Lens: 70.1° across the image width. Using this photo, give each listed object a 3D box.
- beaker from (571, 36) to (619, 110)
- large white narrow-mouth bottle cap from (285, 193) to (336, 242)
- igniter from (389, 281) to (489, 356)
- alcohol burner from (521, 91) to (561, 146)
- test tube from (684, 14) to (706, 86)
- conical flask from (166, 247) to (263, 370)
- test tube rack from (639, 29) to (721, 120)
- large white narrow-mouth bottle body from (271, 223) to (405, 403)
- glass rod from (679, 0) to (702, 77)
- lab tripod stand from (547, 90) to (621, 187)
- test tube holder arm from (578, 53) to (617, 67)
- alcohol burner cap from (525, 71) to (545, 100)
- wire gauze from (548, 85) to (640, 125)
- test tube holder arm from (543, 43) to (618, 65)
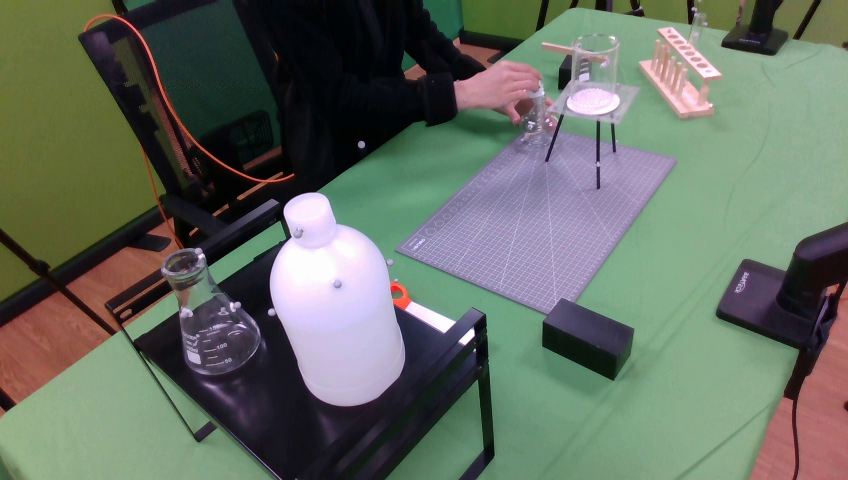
[{"bbox_3d":[0.281,-0.273,0.992,0.084,0.101,0.073,-24,42,-16],"label":"beaker"},{"bbox_3d":[-0.087,-0.018,0.467,0.038,0.024,0.037,-5,40,4],"label":"large white narrow-mouth bottle cap"},{"bbox_3d":[-0.029,0.095,0.871,0.274,0.025,0.057,22,59,31],"label":"igniter"},{"bbox_3d":[0.223,-0.241,1.155,0.078,0.119,0.077,-5,43,5],"label":"alcohol burner"},{"bbox_3d":[0.540,-0.378,1.215,0.017,0.151,0.017,-2,44,3],"label":"test tube"},{"bbox_3d":[-0.208,0.064,0.584,0.075,0.122,0.075,-5,40,4],"label":"conical flask"},{"bbox_3d":[0.527,-0.351,1.262,0.067,0.085,0.241,-8,40,1],"label":"test tube rack"},{"bbox_3d":[-0.077,0.048,0.525,0.102,0.195,0.101,-5,40,5],"label":"large white narrow-mouth bottle body"},{"bbox_3d":[0.543,-0.417,1.233,0.008,0.200,0.008,1,39,0],"label":"glass rod"},{"bbox_3d":[0.289,-0.184,1.062,0.148,0.132,0.147,-6,41,6],"label":"lab tripod stand"},{"bbox_3d":[0.376,-0.393,1.314,0.087,0.015,0.010,26,50,32],"label":"test tube holder arm"},{"bbox_3d":[0.196,-0.280,1.084,0.034,0.048,0.033,-12,50,15],"label":"alcohol burner cap"},{"bbox_3d":[0.286,-0.233,1.020,0.124,0.011,0.122,15,43,30],"label":"wire gauze"},{"bbox_3d":[0.345,-0.413,1.340,0.177,0.015,0.013,25,49,31],"label":"test tube holder arm"}]
